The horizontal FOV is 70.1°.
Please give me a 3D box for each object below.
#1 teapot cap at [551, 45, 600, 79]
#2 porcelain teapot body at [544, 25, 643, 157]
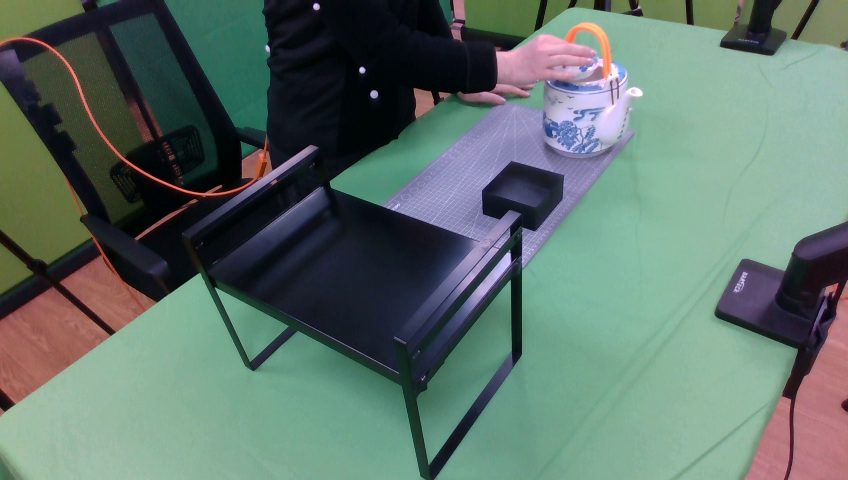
[{"bbox_3d":[0.261,-0.309,1.035,0.085,0.044,0.085,-3,40,3],"label":"teapot cap"},{"bbox_3d":[0.306,-0.258,1.071,0.146,0.226,0.203,-26,44,-20],"label":"porcelain teapot body"}]
